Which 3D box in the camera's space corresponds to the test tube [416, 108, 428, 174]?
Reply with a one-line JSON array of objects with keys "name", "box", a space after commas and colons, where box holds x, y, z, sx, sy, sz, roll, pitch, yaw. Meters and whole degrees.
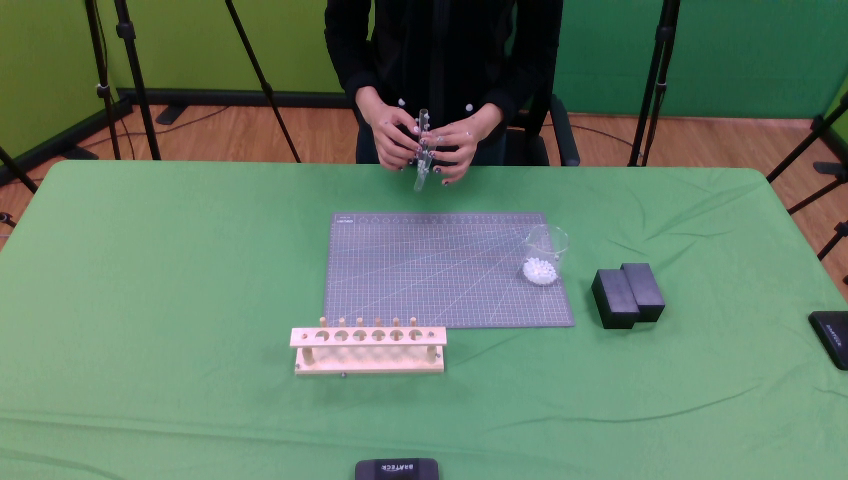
[{"name": "test tube", "box": [-0.004, -0.177, 1.109, 0.017, 0.151, 0.017, 2, 50, -2]}]

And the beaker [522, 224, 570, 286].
[{"name": "beaker", "box": [0.221, 0.032, 1.129, 0.084, 0.101, 0.073, -6, 46, -9]}]

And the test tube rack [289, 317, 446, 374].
[{"name": "test tube rack", "box": [-0.089, 0.167, 0.988, 0.242, 0.085, 0.066, 0, 46, -4]}]

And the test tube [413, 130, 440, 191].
[{"name": "test tube", "box": [0.003, -0.142, 1.114, 0.017, 0.151, 0.017, 9, 51, -11]}]
